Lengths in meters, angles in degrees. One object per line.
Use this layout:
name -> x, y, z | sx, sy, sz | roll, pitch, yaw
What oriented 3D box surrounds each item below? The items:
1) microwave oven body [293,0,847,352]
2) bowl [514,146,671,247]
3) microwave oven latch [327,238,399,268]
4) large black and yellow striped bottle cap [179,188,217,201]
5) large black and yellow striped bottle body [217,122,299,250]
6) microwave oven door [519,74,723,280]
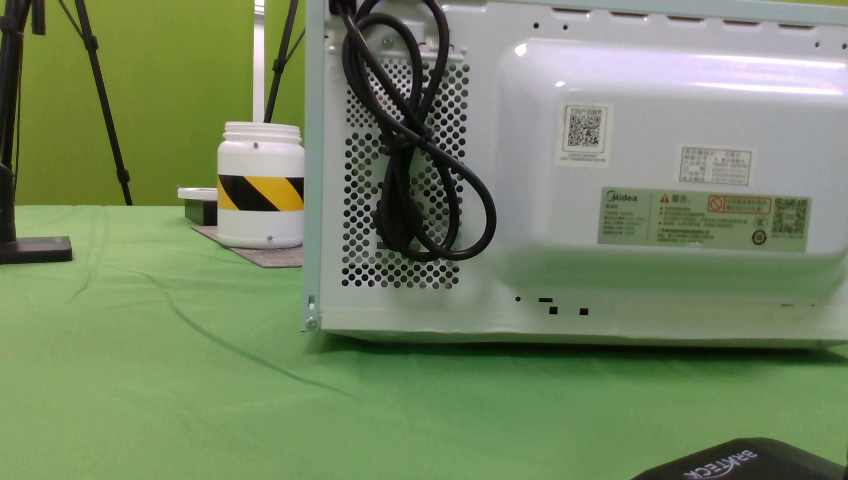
microwave oven body -> 0.122, -0.055, 0.550 | 0.442, 0.260, 0.325 | 3, 7, -5
bowl -> 0.160, -0.036, 0.598 | 0.151, 0.076, 0.151 | 7, -4, 1
microwave oven latch -> -0.069, 0.015, 0.694 | 0.079, 0.029, 0.030 | 3, 7, -3
large black and yellow striped bottle cap -> -0.434, -0.093, 1.226 | 0.115, 0.019, 0.115 | 3, 9, 0
large black and yellow striped bottle body -> -0.250, -0.084, 0.931 | 0.131, 0.184, 0.130 | 2, 7, 0
microwave oven door -> 0.255, -0.094, 0.863 | 0.039, 0.243, 0.354 | -1, 8, -25
